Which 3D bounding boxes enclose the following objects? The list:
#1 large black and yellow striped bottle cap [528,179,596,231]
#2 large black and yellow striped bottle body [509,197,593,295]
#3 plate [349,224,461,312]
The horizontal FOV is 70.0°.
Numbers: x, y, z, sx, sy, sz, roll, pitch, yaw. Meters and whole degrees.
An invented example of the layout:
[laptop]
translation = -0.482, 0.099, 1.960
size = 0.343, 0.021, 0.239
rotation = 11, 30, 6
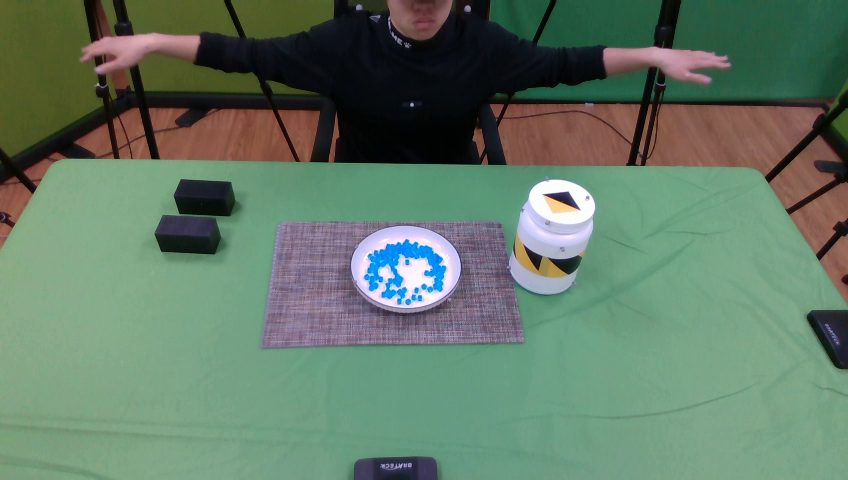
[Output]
[large black and yellow striped bottle cap]
translation = 0.237, -0.062, 1.043
size = 0.115, 0.019, 0.114
rotation = 1, 47, -1
[large black and yellow striped bottle body]
translation = 0.232, -0.004, 1.104
size = 0.131, 0.185, 0.130
rotation = 2, 46, -2
[plate]
translation = -0.035, 0.054, 1.126
size = 0.208, 0.039, 0.206
rotation = 2, 46, -2
